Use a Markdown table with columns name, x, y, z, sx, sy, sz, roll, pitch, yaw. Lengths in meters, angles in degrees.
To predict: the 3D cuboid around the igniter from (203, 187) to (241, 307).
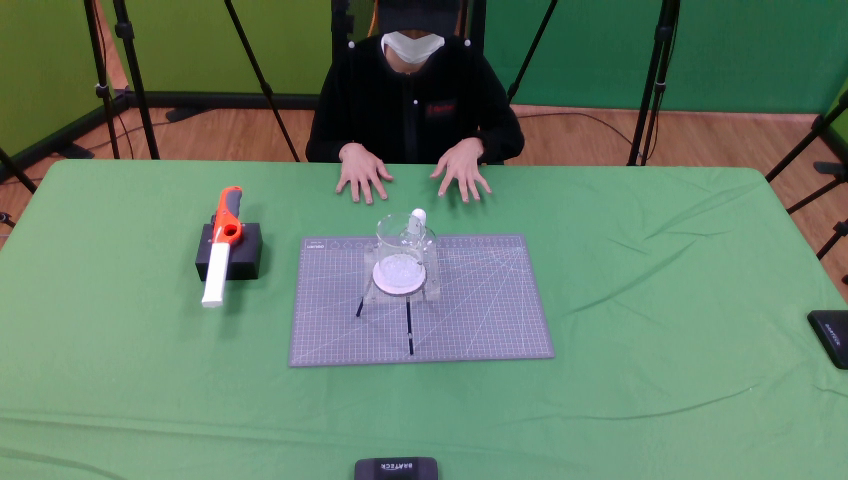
| name | x | y | z | sx | sy | sz | roll | pitch | yaw |
| --- | --- | --- | --- | --- | --- | --- | --- | --- | --- |
| igniter | -0.365 | 0.003 | 1.098 | 0.057 | 0.025 | 0.274 | -1 | 49 | -7 |

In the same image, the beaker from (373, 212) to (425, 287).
| name | x | y | z | sx | sy | sz | roll | pitch | yaw |
| --- | --- | --- | --- | --- | --- | --- | --- | --- | --- |
| beaker | -0.036 | 0.019 | 0.936 | 0.074 | 0.101 | 0.083 | -29 | 54 | -26 |

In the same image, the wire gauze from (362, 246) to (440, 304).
| name | x | y | z | sx | sy | sz | roll | pitch | yaw |
| --- | --- | --- | --- | --- | --- | --- | --- | --- | --- |
| wire gauze | -0.038 | 0.052 | 0.972 | 0.121 | 0.011 | 0.124 | 0 | 44 | -5 |

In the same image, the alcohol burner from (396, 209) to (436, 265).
| name | x | y | z | sx | sy | sz | roll | pitch | yaw |
| --- | --- | --- | --- | --- | --- | --- | --- | --- | --- |
| alcohol burner | -0.015 | -0.011 | 1.141 | 0.078 | 0.120 | 0.077 | 2 | 44 | -1 |

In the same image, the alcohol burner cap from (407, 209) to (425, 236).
| name | x | y | z | sx | sy | sz | roll | pitch | yaw |
| --- | --- | --- | --- | --- | --- | --- | --- | --- | --- |
| alcohol burner cap | -0.013 | -0.036 | 1.115 | 0.034 | 0.048 | 0.033 | 5 | 42 | -4 |

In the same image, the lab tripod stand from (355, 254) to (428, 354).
| name | x | y | z | sx | sy | sz | roll | pitch | yaw |
| --- | --- | --- | --- | --- | --- | --- | --- | --- | --- |
| lab tripod stand | -0.046 | 0.100 | 1.017 | 0.148 | 0.132 | 0.147 | 1 | 47 | -1 |
